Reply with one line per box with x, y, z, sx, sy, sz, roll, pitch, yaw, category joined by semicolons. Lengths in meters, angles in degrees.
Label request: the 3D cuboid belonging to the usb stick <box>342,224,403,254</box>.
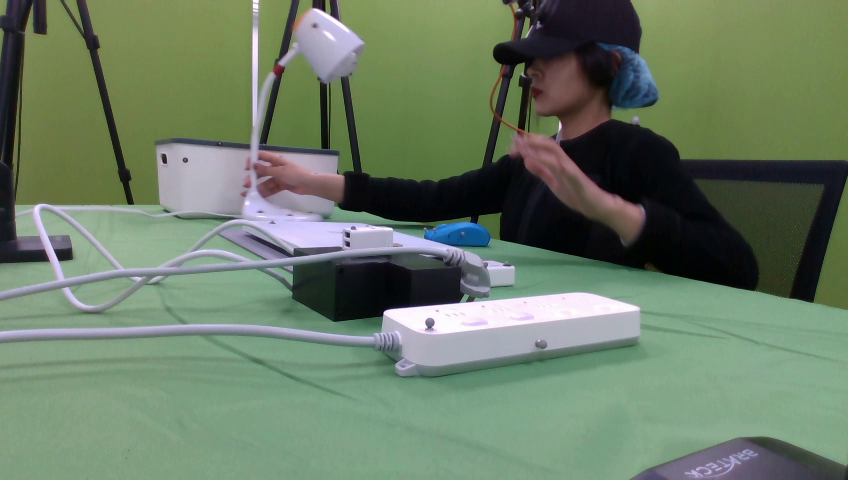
-0.047;-0.001;0.567;0.059;0.027;0.021;0;5;-32;usb stick

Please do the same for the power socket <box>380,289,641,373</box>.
0.072;0.064;0.461;0.228;0.032;0.072;-2;8;-30;power socket

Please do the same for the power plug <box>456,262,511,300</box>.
0.052;0.051;0.543;0.035;0.052;0.072;6;38;-20;power plug

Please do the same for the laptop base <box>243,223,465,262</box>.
-0.127;0.003;0.945;0.237;0.023;0.352;2;6;-31;laptop base

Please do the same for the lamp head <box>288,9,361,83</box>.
-0.203;-0.381;1.172;0.123;0.112;0.112;40;4;-6;lamp head

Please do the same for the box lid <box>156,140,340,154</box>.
-0.410;-0.212;1.404;0.373;0.015;0.262;-2;8;-32;box lid

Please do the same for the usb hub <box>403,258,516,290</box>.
0.042;0.038;0.690;0.126;0.025;0.049;-2;10;-30;usb hub

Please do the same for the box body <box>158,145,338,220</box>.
-0.410;-0.139;1.414;0.366;0.160;0.253;-3;8;-33;box body

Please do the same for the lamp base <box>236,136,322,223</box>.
-0.299;-0.120;1.223;0.179;0.180;0.160;0;7;2;lamp base

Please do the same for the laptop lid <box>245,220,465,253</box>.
-0.124;-0.009;0.945;0.243;0.013;0.355;1;7;-29;laptop lid

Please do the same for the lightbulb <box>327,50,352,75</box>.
-0.184;-0.367;1.165;0.059;0.108;0.059;-40;5;5;lightbulb

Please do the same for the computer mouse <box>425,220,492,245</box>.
0.060;-0.013;1.060;0.117;0.041;0.062;-2;10;-6;computer mouse
